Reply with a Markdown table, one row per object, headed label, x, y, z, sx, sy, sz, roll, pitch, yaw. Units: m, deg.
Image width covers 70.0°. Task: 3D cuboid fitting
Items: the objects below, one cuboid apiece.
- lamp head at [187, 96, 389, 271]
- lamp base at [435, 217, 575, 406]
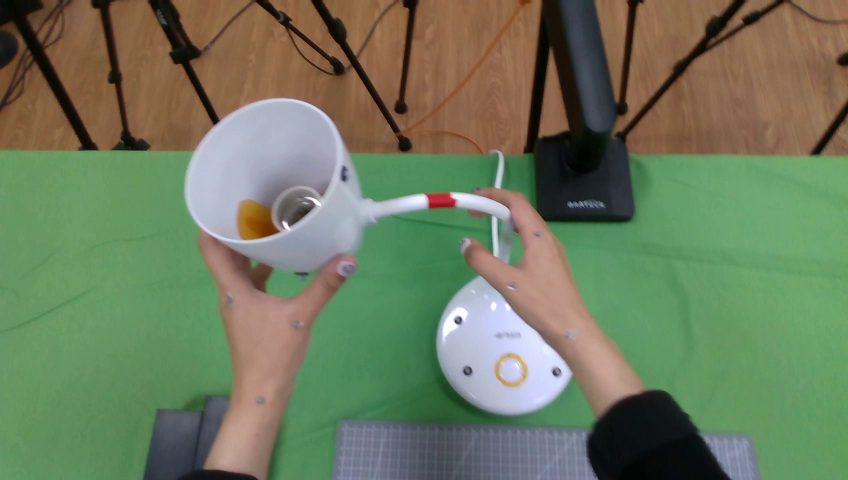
| label | x | y | z | sx | sy | sz | roll | pitch | yaw |
| --- | --- | --- | --- | --- | --- | --- | --- | --- | --- |
| lamp head | -0.089 | -0.028 | 0.448 | 0.112 | 0.124 | 0.111 | -8 | 64 | 17 |
| lamp base | 0.085 | 0.067 | 0.632 | 0.161 | 0.182 | 0.177 | -11 | 63 | -2 |
